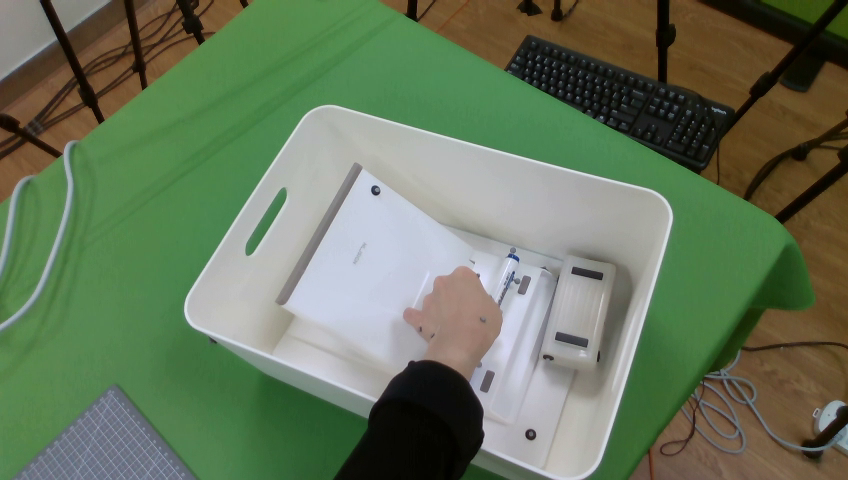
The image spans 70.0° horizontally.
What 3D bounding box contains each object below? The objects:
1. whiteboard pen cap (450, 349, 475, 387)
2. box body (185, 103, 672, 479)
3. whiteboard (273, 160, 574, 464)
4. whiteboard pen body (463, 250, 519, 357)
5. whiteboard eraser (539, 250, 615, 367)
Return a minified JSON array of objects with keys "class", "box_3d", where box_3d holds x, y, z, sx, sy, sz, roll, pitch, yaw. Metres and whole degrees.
[{"class":"whiteboard pen cap","box_3d":[0.038,0.122,0.578,0.018,0.018,0.033,16,67,16]},{"class":"box body","box_3d":[0.010,0.050,0.580,0.362,0.162,0.253,18,65,17]},{"class":"whiteboard","box_3d":[0.004,0.047,0.594,0.304,0.145,0.216,17,64,17]},{"class":"whiteboard pen body","box_3d":[0.062,0.072,0.599,0.017,0.017,0.140,20,70,18]},{"class":"whiteboard eraser","box_3d":[0.154,0.067,0.604,0.055,0.042,0.112,9,65,20]}]
